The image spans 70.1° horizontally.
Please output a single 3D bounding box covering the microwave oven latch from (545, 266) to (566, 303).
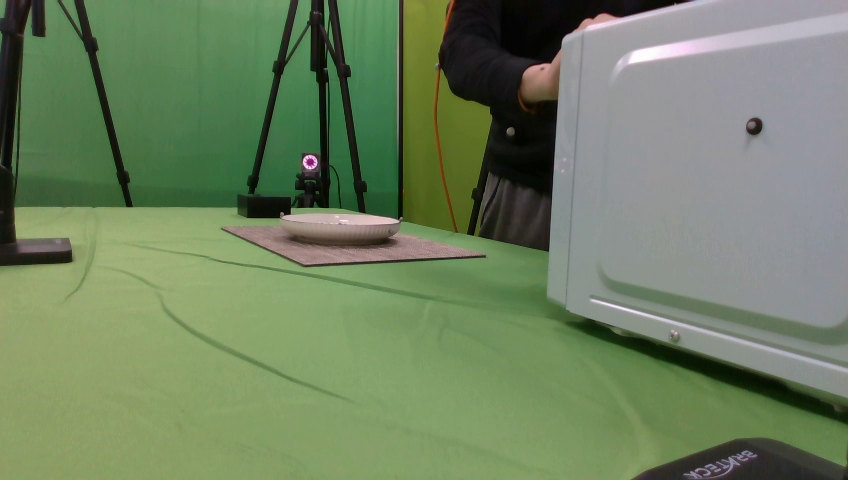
[{"bbox_3d":[0.148,0.039,0.555,0.079,0.029,0.030,-2,7,-29],"label":"microwave oven latch"}]

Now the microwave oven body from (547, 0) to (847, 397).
[{"bbox_3d":[0.378,-0.045,0.509,0.444,0.260,0.324,-2,8,-31],"label":"microwave oven body"}]

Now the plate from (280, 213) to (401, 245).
[{"bbox_3d":[-0.145,-0.021,1.057,0.209,0.038,0.209,2,7,0],"label":"plate"}]

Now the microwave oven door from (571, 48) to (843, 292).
[{"bbox_3d":[0.330,-0.073,0.676,0.357,0.243,0.039,-1,9,-22],"label":"microwave oven door"}]
